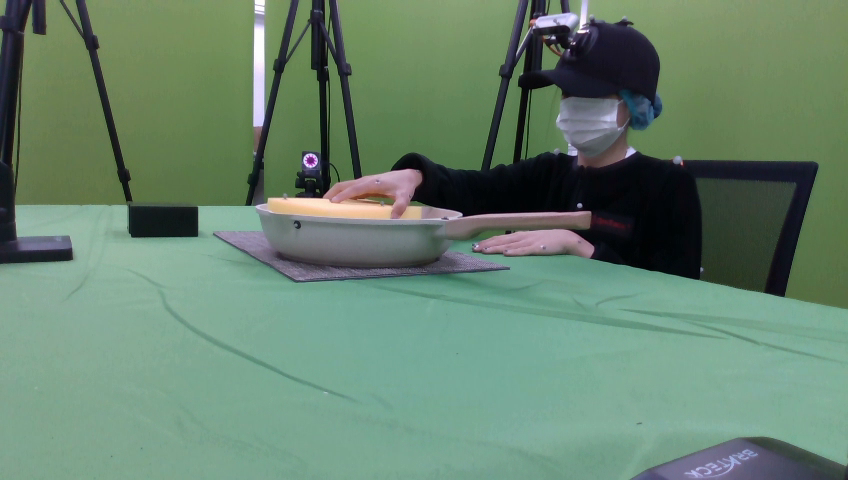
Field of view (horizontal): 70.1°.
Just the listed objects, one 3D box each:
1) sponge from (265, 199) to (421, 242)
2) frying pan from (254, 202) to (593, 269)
[{"bbox_3d":[-0.111,-0.023,0.875,0.117,0.061,0.208,10,9,34],"label":"sponge"},{"bbox_3d":[-0.011,-0.016,0.802,0.485,0.102,0.308,-2,4,39],"label":"frying pan"}]
